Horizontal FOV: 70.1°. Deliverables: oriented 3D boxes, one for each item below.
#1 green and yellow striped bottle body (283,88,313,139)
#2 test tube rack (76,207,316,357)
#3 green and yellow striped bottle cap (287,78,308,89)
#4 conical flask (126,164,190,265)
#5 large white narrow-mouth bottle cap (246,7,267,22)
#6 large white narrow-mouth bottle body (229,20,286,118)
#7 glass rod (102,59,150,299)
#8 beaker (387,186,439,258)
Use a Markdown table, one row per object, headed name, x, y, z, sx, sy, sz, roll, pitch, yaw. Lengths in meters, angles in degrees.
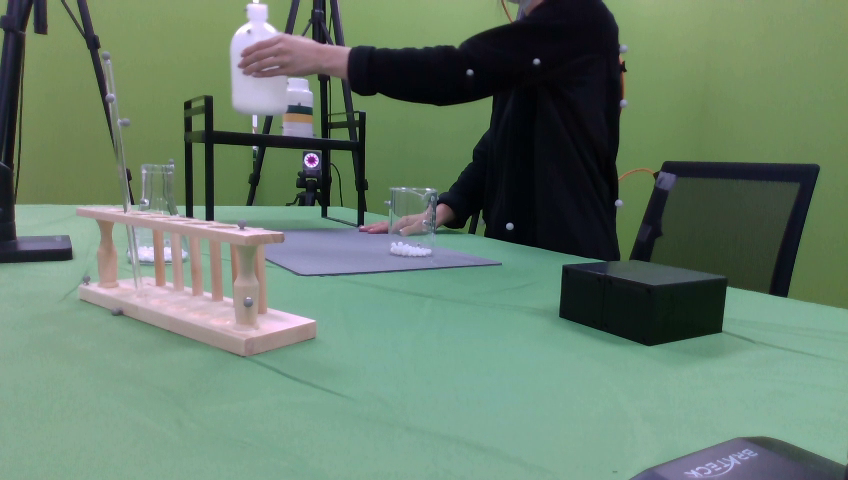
| name | x | y | z | sx | sy | sz | roll | pitch | yaw |
| --- | --- | --- | --- | --- | --- | --- | --- | --- | --- |
| green and yellow striped bottle body | -0.266 | -0.275 | 1.275 | 0.063 | 0.119 | 0.063 | 2 | 7 | 0 |
| test tube rack | -0.196 | 0.023 | 0.500 | 0.241 | 0.085 | 0.067 | 8 | 8 | 36 |
| green and yellow striped bottle cap | -0.265 | -0.326 | 1.268 | 0.045 | 0.020 | 0.045 | 5 | 6 | 0 |
| conical flask | -0.332 | -0.033 | 0.756 | 0.075 | 0.122 | 0.075 | 2 | 8 | 0 |
| large white narrow-mouth bottle cap | -0.306 | -0.412 | 1.105 | 0.038 | 0.024 | 0.037 | 3 | 16 | -1 |
| large white narrow-mouth bottle body | -0.310 | -0.331 | 1.130 | 0.102 | 0.194 | 0.101 | 3 | 17 | -1 |
| glass rod | -0.243 | -0.045 | 0.496 | 0.008 | 0.199 | 0.008 | -4 | 13 | 1 |
| beaker | -0.015 | -0.027 | 0.885 | 0.074 | 0.100 | 0.083 | -1 | 8 | -20 |
